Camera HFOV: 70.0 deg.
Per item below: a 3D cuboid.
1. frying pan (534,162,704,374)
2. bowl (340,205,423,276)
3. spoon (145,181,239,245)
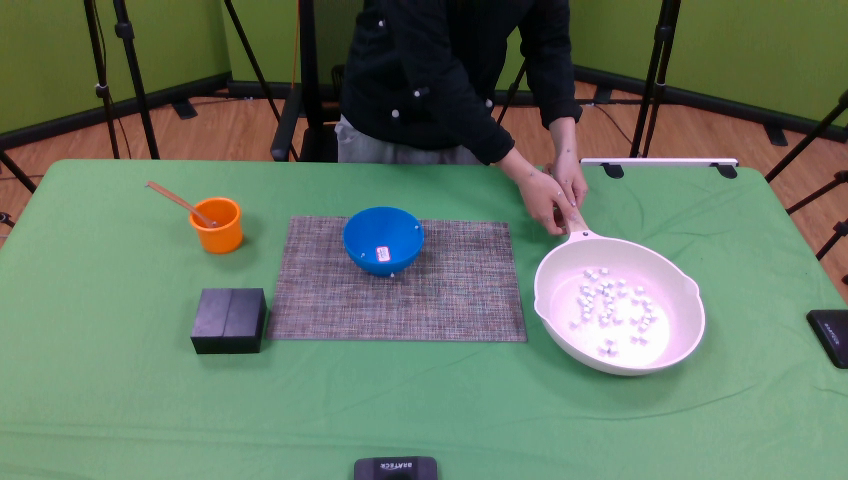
[{"bbox_3d":[0.314,0.034,1.133,0.307,0.103,0.484,-7,56,-12],"label":"frying pan"},{"bbox_3d":[-0.079,0.014,1.133,0.151,0.077,0.150,2,46,-2],"label":"bowl"},{"bbox_3d":[-0.429,-0.052,1.126,0.021,0.195,0.041,-27,35,34],"label":"spoon"}]
